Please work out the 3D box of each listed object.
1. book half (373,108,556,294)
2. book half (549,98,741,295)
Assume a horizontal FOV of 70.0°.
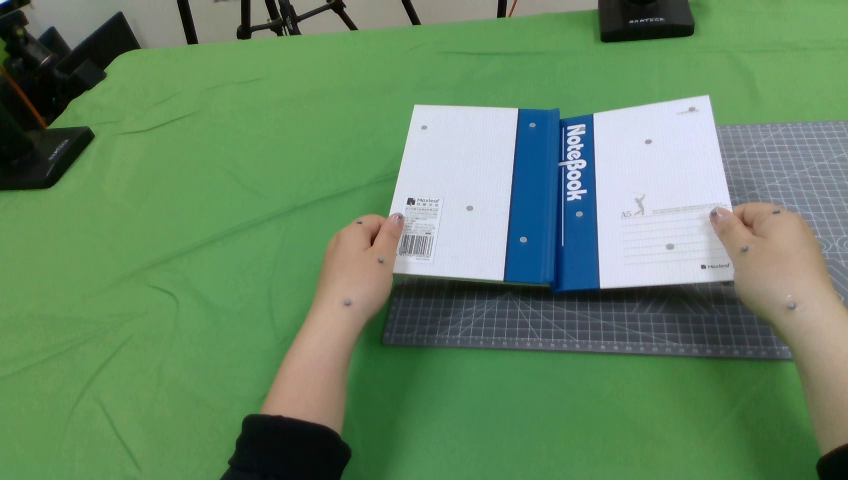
[{"bbox_3d":[0.044,-0.046,0.558,0.148,0.016,0.208,4,54,8],"label":"book half"},{"bbox_3d":[0.183,-0.044,0.532,0.143,0.007,0.208,-6,50,19],"label":"book half"}]
